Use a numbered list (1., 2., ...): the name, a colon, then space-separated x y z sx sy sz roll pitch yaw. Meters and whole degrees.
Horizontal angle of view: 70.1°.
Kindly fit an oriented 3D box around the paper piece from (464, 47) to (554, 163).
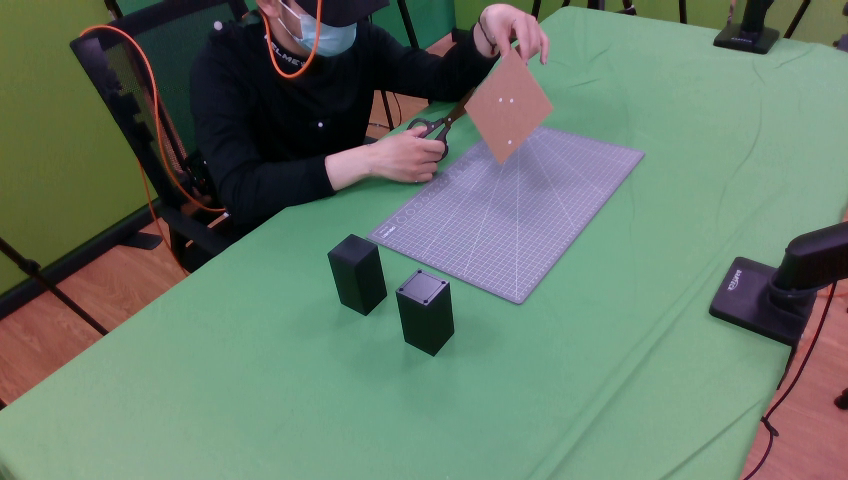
1. paper piece: 0.134 -0.219 0.989 0.004 0.135 0.135 -3 58 -45

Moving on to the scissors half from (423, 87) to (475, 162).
1. scissors half: 0.047 -0.204 1.082 0.040 0.175 0.013 36 40 6

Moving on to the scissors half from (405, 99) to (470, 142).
1. scissors half: 0.031 -0.221 1.080 0.174 0.040 0.013 -20 21 36

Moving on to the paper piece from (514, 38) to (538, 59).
1. paper piece: 0.139 -0.299 1.073 0.008 0.135 0.138 48 36 1
